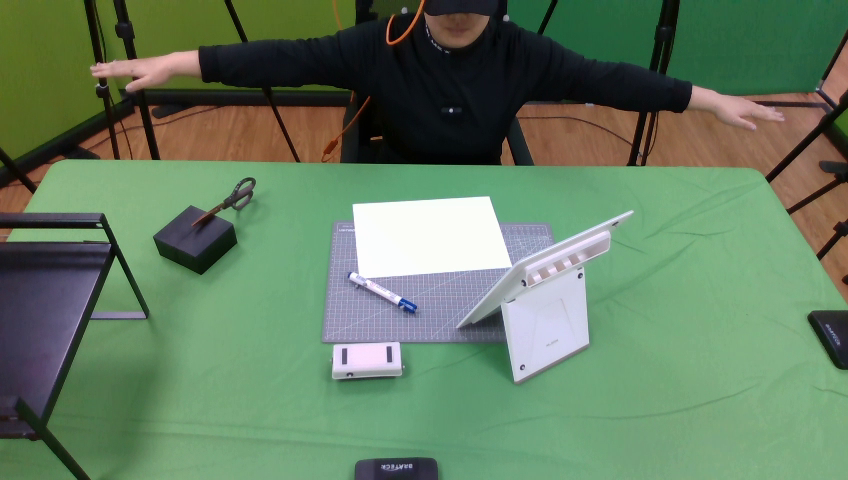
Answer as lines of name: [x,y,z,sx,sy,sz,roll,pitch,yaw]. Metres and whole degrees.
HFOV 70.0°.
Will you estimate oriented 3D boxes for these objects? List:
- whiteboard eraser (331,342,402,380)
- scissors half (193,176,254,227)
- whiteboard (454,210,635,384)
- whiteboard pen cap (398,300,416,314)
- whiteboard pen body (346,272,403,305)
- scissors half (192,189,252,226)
whiteboard eraser: [-0.094,0.198,0.986,0.113,0.042,0.055,-2,44,-6]
scissors half: [-0.388,-0.075,1.174,0.013,0.040,0.174,28,47,8]
whiteboard: [0.210,0.110,0.955,0.217,0.306,0.143,-21,72,-23]
whiteboard pen cap: [-0.031,0.118,1.080,0.033,0.018,0.018,24,49,20]
whiteboard pen body: [-0.081,0.092,1.098,0.140,0.017,0.017,26,50,17]
scissors half: [-0.393,-0.060,1.187,0.013,0.040,0.175,24,29,12]
